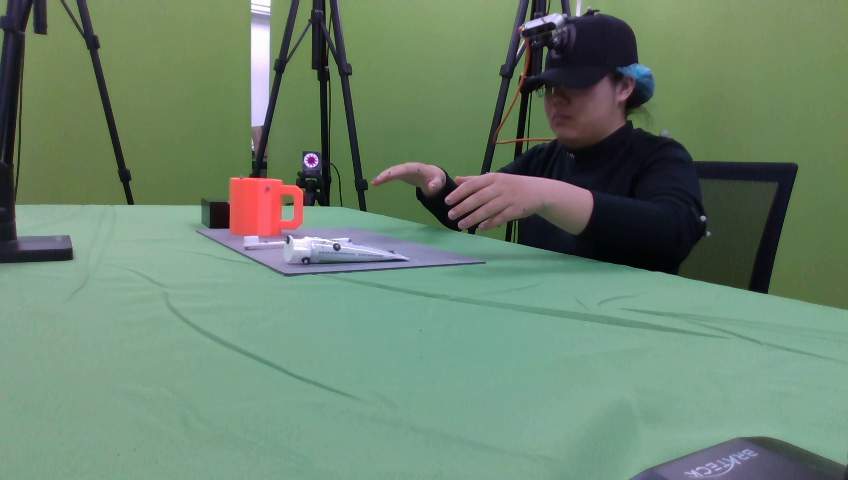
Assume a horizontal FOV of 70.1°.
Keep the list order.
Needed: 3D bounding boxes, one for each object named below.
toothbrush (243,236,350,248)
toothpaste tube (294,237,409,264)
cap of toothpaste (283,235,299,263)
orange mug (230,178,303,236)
[{"bbox_3d":[-0.191,0.001,0.927,0.183,0.016,0.014,-2,-8,-41],"label":"toothbrush"},{"bbox_3d":[-0.101,0.016,0.806,0.166,0.034,0.055,3,12,-34],"label":"toothpaste tube"},{"bbox_3d":[-0.168,0.012,0.764,0.011,0.037,0.037,3,5,-34],"label":"cap of toothpaste"},{"bbox_3d":[-0.275,-0.060,1.058,0.126,0.101,0.083,-2,8,-5],"label":"orange mug"}]
